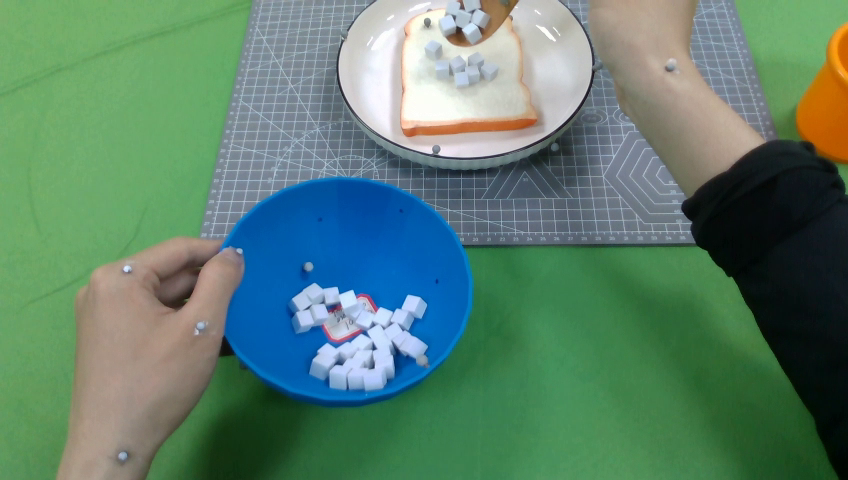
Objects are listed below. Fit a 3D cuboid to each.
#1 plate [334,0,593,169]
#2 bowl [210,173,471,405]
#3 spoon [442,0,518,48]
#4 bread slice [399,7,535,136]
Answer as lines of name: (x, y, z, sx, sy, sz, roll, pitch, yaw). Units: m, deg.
plate: (0.031, -0.141, 0.505, 0.209, 0.038, 0.207, -1, 61, 3)
bowl: (-0.051, 0.040, 0.384, 0.152, 0.077, 0.150, 5, 57, -7)
spoon: (0.088, -0.190, 0.422, 0.022, 0.193, 0.041, -6, 79, -46)
bread slice: (0.028, -0.144, 0.510, 0.107, 0.018, 0.133, -7, 62, 0)
